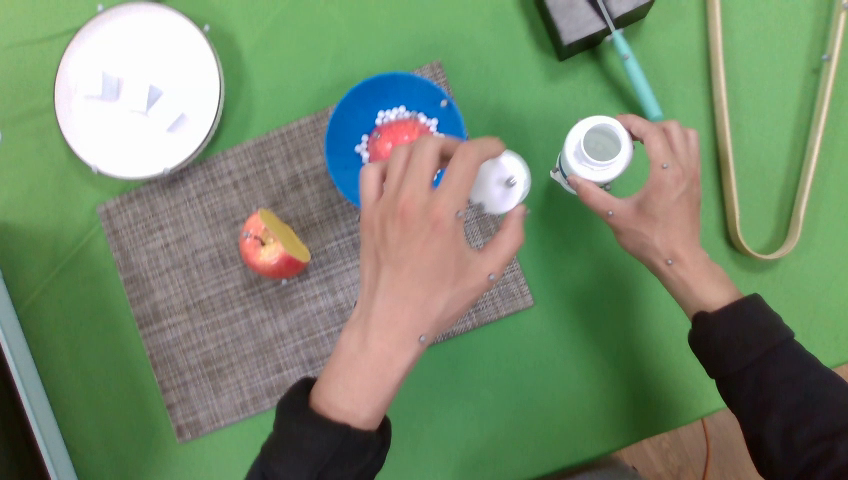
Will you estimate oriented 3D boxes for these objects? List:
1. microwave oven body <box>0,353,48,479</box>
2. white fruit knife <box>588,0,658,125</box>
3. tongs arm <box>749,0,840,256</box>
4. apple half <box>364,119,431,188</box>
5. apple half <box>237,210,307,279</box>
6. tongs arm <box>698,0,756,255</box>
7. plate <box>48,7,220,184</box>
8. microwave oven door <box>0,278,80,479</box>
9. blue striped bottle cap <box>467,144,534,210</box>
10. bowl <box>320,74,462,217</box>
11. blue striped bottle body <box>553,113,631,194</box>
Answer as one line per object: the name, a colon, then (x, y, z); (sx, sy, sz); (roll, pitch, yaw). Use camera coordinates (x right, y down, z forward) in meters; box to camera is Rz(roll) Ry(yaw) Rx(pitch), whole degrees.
microwave oven body: (-0.617, 0.229, 0.625); (0.326, 0.260, 0.441); (-24, 87, 4)
white fruit knife: (0.197, -0.212, 0.642); (0.016, 0.027, 0.208); (-28, 103, 22)
tongs arm: (0.402, -0.170, 0.646); (0.050, 0.026, 0.384); (8, 90, 7)
apple half: (-0.030, -0.096, 0.659); (0.081, 0.033, 0.081); (0, 87, 7)
apple half: (-0.175, 0.012, 0.679); (0.053, 0.074, 0.081); (-41, 88, 7)
tongs arm: (0.321, -0.175, 0.658); (0.028, 0.028, 0.387); (-5, 88, 4)
plate: (-0.339, -0.168, 0.723); (0.207, 0.039, 0.207); (0, 89, 6)
microwave oven door: (-0.467, 0.209, 0.605); (0.039, 0.244, 0.355); (-24, 86, 5)
blue striped bottle cap: (0.052, -0.043, 0.422); (0.044, 0.020, 0.045); (8, 111, 23)
bowl: (-0.030, -0.097, 0.664); (0.151, 0.077, 0.151); (0, 89, 7)
blue striped bottle body: (0.161, -0.083, 0.587); (0.063, 0.121, 0.063); (0, 86, 8)
